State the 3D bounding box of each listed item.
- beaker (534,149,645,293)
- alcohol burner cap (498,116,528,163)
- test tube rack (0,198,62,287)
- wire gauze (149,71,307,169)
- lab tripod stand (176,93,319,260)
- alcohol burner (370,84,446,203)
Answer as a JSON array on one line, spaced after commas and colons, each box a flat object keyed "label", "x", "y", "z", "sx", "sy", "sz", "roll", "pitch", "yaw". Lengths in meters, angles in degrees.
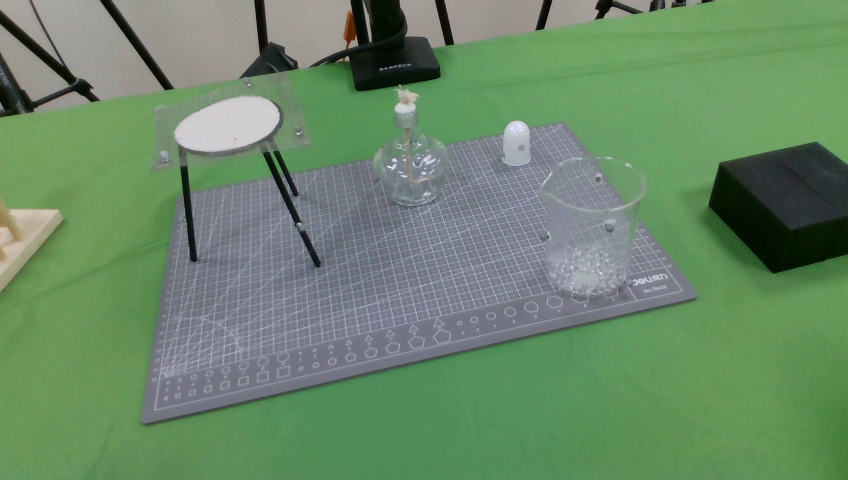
[{"label": "beaker", "x": 0.132, "y": -0.012, "z": 0.498, "sx": 0.084, "sy": 0.101, "sz": 0.073, "roll": -4, "pitch": 42, "yaw": 4}, {"label": "alcohol burner cap", "x": 0.097, "y": -0.111, "z": 0.656, "sx": 0.034, "sy": 0.048, "sz": 0.033, "roll": -4, "pitch": 42, "yaw": 4}, {"label": "test tube rack", "x": -0.444, "y": 0.023, "z": 0.548, "sx": 0.066, "sy": 0.086, "sz": 0.240, "roll": 1, "pitch": 42, "yaw": 8}, {"label": "wire gauze", "x": -0.169, "y": -0.102, "z": 0.511, "sx": 0.125, "sy": 0.011, "sz": 0.120, "roll": -16, "pitch": 43, "yaw": -9}, {"label": "lab tripod stand", "x": -0.163, "y": -0.053, "z": 0.556, "sx": 0.148, "sy": 0.133, "sz": 0.147, "roll": -4, "pitch": 44, "yaw": 4}, {"label": "alcohol burner", "x": -0.018, "y": -0.098, "z": 0.603, "sx": 0.078, "sy": 0.120, "sz": 0.077, "roll": -4, "pitch": 40, "yaw": 4}]
